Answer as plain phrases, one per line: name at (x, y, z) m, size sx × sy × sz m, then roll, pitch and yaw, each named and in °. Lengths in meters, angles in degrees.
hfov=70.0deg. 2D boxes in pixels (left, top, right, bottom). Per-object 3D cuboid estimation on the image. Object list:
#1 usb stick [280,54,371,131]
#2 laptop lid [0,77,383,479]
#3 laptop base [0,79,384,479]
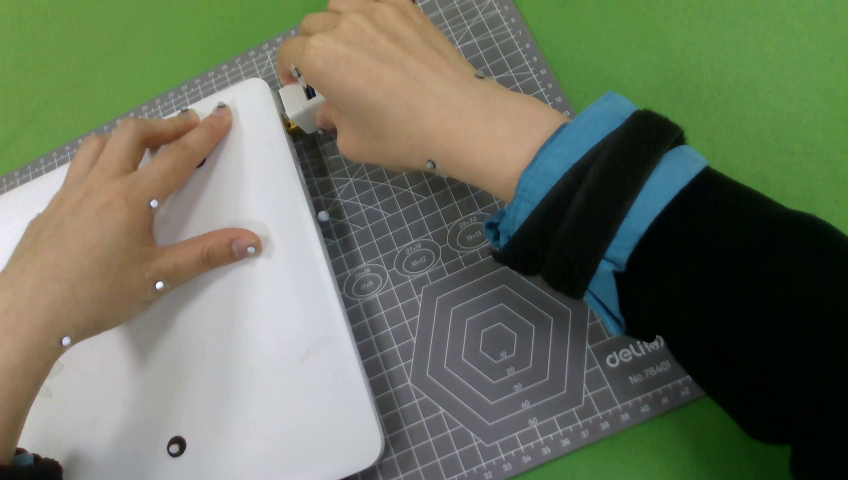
usb stick at (-0.062, -0.081, 0.347) m, size 0.059 × 0.027 × 0.021 m, roll -24°, pitch 70°, yaw 13°
laptop lid at (-0.216, 0.069, 0.342) m, size 0.356 × 0.013 × 0.240 m, roll -21°, pitch 72°, yaw 6°
laptop base at (-0.214, 0.071, 0.354) m, size 0.354 × 0.023 × 0.234 m, roll -23°, pitch 73°, yaw 6°
